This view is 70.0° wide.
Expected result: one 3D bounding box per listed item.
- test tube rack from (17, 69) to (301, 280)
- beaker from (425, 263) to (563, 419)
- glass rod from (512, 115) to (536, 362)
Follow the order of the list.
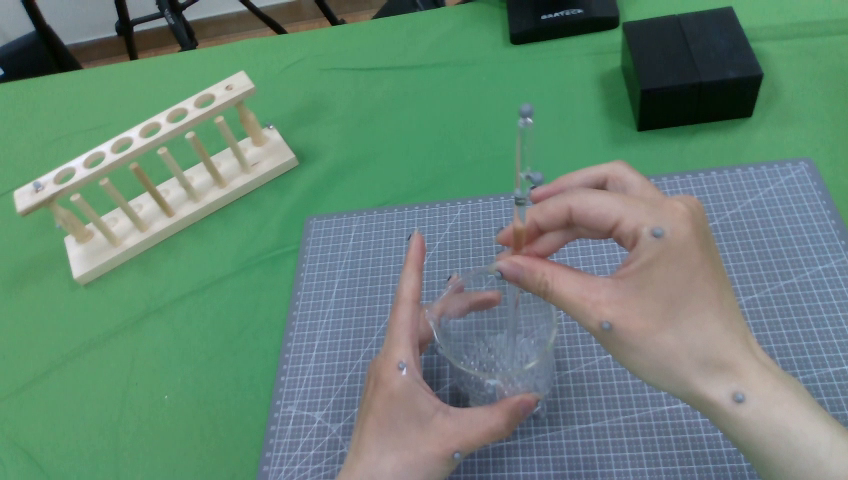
[{"bbox_3d":[-0.254,-0.066,0.600,0.242,0.086,0.066,-31,53,-10],"label":"test tube rack"},{"bbox_3d":[0.048,0.072,0.401,0.083,0.101,0.073,7,59,16],"label":"beaker"},{"bbox_3d":[0.053,0.014,0.328,0.008,0.201,0.008,-3,49,4],"label":"glass rod"}]
